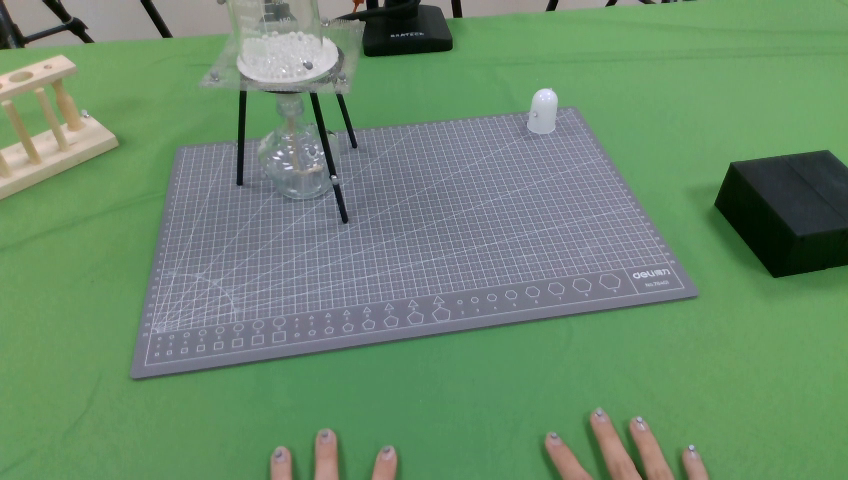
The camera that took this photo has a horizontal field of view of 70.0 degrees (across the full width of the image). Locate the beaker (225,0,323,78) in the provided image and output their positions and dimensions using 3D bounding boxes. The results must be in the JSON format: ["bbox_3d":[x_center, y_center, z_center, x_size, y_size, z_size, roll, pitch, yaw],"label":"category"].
[{"bbox_3d":[-0.123,-0.189,0.483,0.084,0.101,0.073,5,45,6],"label":"beaker"}]

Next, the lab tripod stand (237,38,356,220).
[{"bbox_3d":[-0.115,-0.105,0.561,0.148,0.133,0.147,-1,46,1],"label":"lab tripod stand"}]

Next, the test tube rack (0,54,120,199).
[{"bbox_3d":[-0.438,-0.087,0.583,0.066,0.086,0.242,33,53,30],"label":"test tube rack"}]

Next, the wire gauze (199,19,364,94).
[{"bbox_3d":[-0.118,-0.159,0.522,0.125,0.011,0.120,0,43,5],"label":"wire gauze"}]

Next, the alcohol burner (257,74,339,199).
[{"bbox_3d":[-0.121,-0.099,0.569,0.078,0.120,0.077,-1,42,1],"label":"alcohol burner"}]

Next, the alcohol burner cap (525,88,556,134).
[{"bbox_3d":[0.129,-0.144,0.666,0.034,0.048,0.033,0,44,1],"label":"alcohol burner cap"}]
